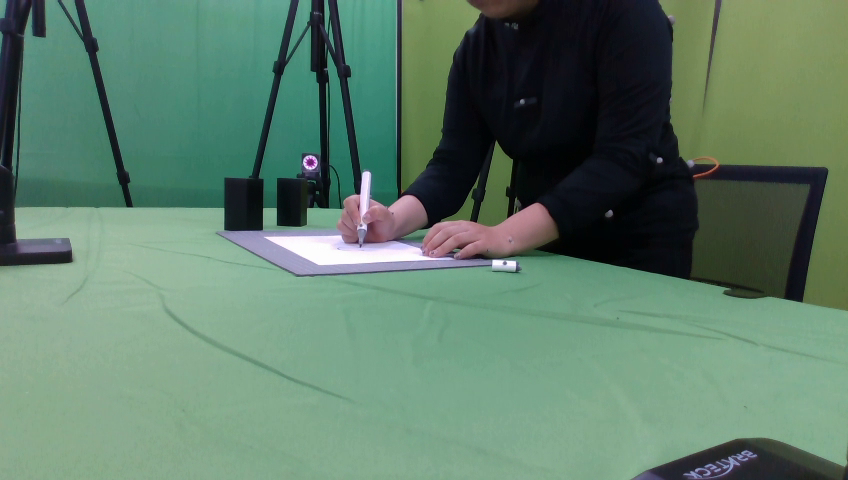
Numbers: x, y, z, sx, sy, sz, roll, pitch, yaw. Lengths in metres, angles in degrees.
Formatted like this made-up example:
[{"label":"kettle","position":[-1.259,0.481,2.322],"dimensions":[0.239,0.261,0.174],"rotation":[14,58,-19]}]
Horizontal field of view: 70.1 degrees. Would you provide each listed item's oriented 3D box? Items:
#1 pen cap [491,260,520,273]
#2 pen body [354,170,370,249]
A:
[{"label":"pen cap","position":[0.110,0.036,0.813],"dimensions":[0.038,0.017,0.017],"rotation":[3,7,7]},{"label":"pen body","position":[-0.102,-0.050,0.996],"dimensions":[0.017,0.144,0.017],"rotation":[3,-26,2]}]
